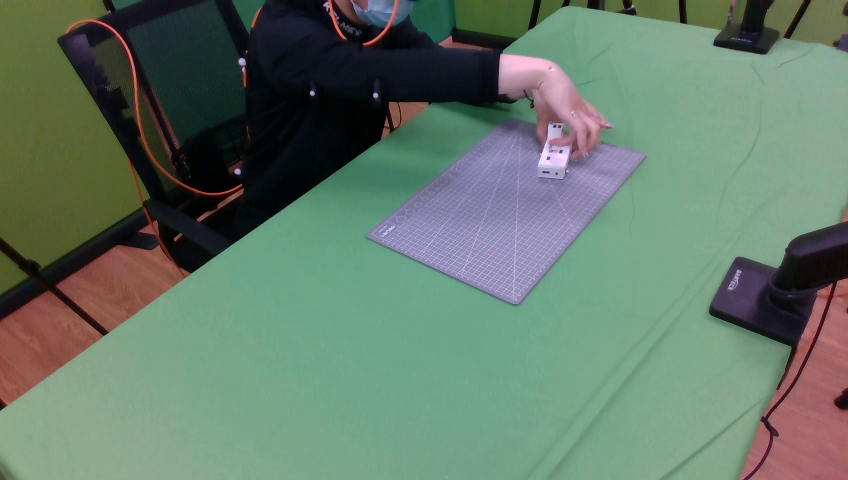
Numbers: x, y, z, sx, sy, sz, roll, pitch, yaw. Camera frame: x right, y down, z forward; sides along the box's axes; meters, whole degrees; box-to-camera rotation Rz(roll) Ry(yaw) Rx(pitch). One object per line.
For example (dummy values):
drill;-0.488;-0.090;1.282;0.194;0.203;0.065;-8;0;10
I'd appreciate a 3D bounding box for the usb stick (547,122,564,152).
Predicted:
usb stick;0.236;-0.181;1.085;0.027;0.059;0.021;9;42;11

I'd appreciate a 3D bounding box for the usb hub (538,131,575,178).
usb hub;0.245;-0.159;1.112;0.049;0.025;0.125;9;44;18
